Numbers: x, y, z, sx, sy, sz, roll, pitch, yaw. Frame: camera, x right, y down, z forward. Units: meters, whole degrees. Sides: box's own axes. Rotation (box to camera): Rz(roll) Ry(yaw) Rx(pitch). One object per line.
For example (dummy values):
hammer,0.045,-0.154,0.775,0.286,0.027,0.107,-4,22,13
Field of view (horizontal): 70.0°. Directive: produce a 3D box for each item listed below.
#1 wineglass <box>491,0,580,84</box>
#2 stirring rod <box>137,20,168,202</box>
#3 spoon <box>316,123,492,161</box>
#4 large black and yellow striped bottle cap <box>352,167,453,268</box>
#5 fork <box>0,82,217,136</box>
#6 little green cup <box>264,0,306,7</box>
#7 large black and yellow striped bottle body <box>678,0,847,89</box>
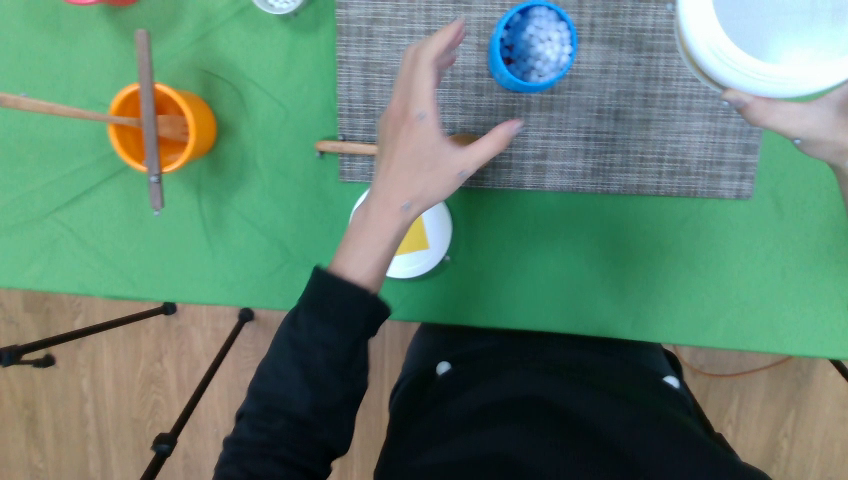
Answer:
wineglass,0.095,-0.178,0.548,0.073,0.171,0.074,1,104,4
stirring rod,-0.270,-0.125,0.602,0.014,0.006,0.177,2,105,5
spoon,-0.024,-0.108,0.653,0.193,0.021,0.042,2,125,4
large black and yellow striped bottle cap,-0.024,-0.024,0.682,0.115,0.018,0.115,1,108,4
fork,-0.312,-0.131,0.607,0.209,0.018,0.028,3,117,-41
little green cup,-0.141,-0.267,0.615,0.061,0.038,0.062,1,105,5
large black and yellow striped bottle body,0.242,-0.169,0.405,0.130,0.184,0.131,5,105,20
